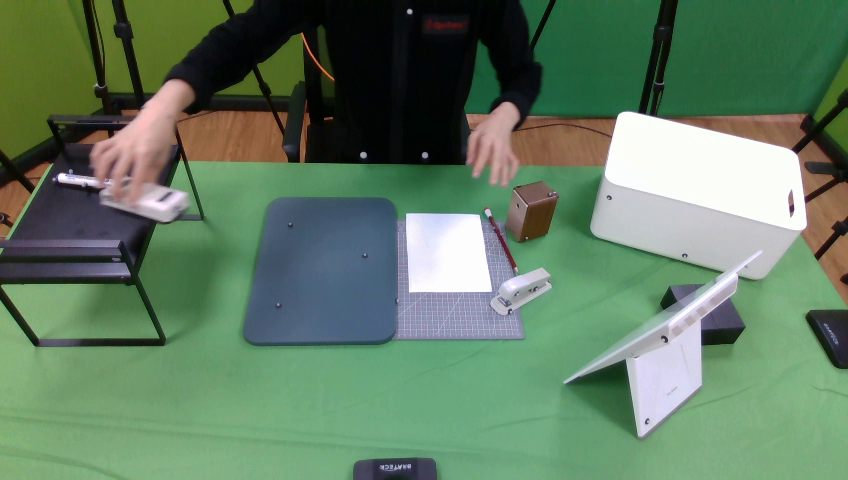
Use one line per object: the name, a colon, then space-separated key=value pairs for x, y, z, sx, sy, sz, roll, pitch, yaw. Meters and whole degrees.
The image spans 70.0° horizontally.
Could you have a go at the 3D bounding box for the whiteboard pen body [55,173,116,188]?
whiteboard pen body: x=-0.539 y=-0.096 z=0.998 sx=0.141 sy=0.017 sz=0.017 roll=6 pitch=46 yaw=6

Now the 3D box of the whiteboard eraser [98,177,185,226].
whiteboard eraser: x=-0.423 y=-0.056 z=0.909 sx=0.112 sy=0.042 sz=0.055 roll=16 pitch=43 yaw=9

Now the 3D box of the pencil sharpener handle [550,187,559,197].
pencil sharpener handle: x=0.261 y=-0.084 z=1.221 sx=0.031 sy=0.068 sz=0.036 roll=-16 pitch=66 yaw=-19

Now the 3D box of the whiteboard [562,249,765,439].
whiteboard: x=0.386 y=0.176 z=0.905 sx=0.217 sy=0.306 sz=0.143 roll=-26 pitch=72 yaw=-26

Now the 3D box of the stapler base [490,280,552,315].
stapler base: x=0.181 y=0.094 z=1.118 sx=0.130 sy=0.024 sz=0.041 roll=-24 pitch=56 yaw=-29

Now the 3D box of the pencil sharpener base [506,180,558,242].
pencil sharpener base: x=0.216 y=-0.058 z=1.211 sx=0.077 sy=0.107 sz=0.061 roll=-16 pitch=49 yaw=-19

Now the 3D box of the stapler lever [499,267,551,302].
stapler lever: x=0.185 y=0.076 z=1.101 sx=0.118 sy=0.040 sz=0.026 roll=-25 pitch=56 yaw=-29

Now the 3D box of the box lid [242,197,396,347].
box lid: x=-0.186 y=0.046 z=1.147 sx=0.263 sy=0.015 sz=0.369 roll=0 pitch=46 yaw=-3

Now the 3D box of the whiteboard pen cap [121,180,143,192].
whiteboard pen cap: x=-0.479 y=-0.089 z=0.993 sx=0.033 sy=0.018 sz=0.018 roll=7 pitch=46 yaw=13

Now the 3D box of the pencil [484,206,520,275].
pencil: x=0.156 y=-0.002 z=1.218 sx=0.012 sy=0.012 sz=0.192 roll=-9 pitch=48 yaw=-13

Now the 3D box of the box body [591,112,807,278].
box body: x=0.540 y=-0.092 z=1.230 sx=0.363 sy=0.161 sz=0.253 roll=16 pitch=47 yaw=11
